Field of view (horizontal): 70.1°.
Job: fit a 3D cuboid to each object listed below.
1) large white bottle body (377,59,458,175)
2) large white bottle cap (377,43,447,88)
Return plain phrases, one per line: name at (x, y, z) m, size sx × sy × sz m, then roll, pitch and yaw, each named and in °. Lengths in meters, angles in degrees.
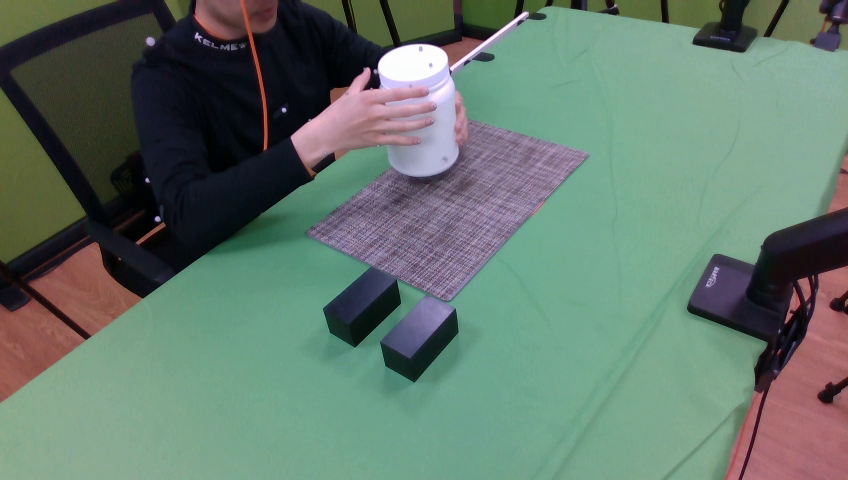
large white bottle body at (-0.010, -0.220, 1.044) m, size 0.130 × 0.185 × 0.130 m, roll -3°, pitch 43°, yaw 3°
large white bottle cap at (-0.020, -0.285, 0.983) m, size 0.115 × 0.018 × 0.114 m, roll -5°, pitch 45°, yaw 5°
